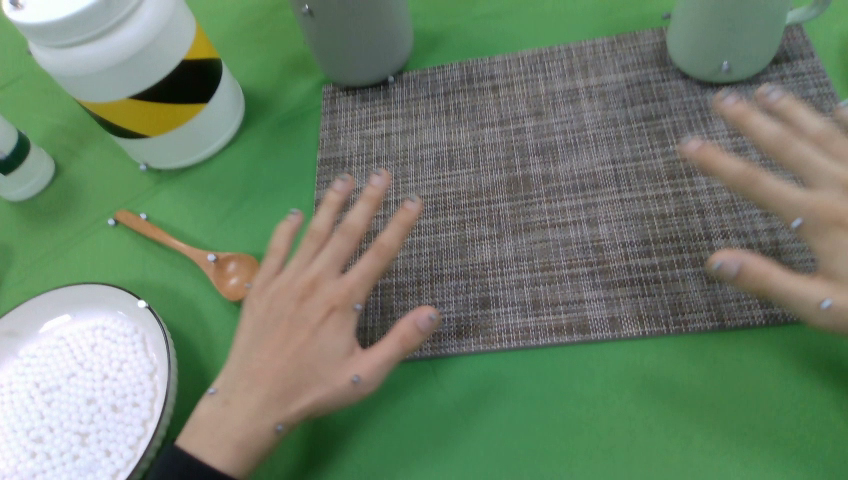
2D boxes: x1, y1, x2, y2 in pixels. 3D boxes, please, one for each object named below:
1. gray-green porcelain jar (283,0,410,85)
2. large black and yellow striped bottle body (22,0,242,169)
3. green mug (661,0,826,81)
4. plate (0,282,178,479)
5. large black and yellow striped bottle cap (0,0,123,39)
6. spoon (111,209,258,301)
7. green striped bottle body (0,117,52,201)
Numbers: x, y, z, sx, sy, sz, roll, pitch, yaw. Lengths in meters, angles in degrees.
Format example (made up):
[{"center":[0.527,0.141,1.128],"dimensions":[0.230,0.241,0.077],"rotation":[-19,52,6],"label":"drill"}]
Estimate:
[{"center":[-0.073,-0.221,0.569],"dimensions":[0.106,0.128,0.105],"rotation":[-6,56,9],"label":"gray-green porcelain jar"},{"center":[-0.264,-0.166,0.548],"dimensions":[0.130,0.186,0.129],"rotation":[-5,61,9],"label":"large black and yellow striped bottle body"},{"center":[0.265,-0.198,0.494],"dimensions":[0.125,0.106,0.091],"rotation":[-8,60,8],"label":"green mug"},{"center":[-0.286,0.133,0.473],"dimensions":[0.209,0.038,0.207],"rotation":[-5,60,9],"label":"plate"},{"center":[-0.281,-0.205,0.476],"dimensions":[0.115,0.019,0.114],"rotation":[-5,60,9],"label":"large black and yellow striped bottle cap"},{"center":[-0.218,0.004,0.539],"dimensions":[0.192,0.022,0.041],"rotation":[23,87,22],"label":"spoon"},{"center":[-0.427,-0.094,0.581],"dimensions":[0.063,0.120,0.062],"rotation":[-5,60,10],"label":"green striped bottle body"}]
